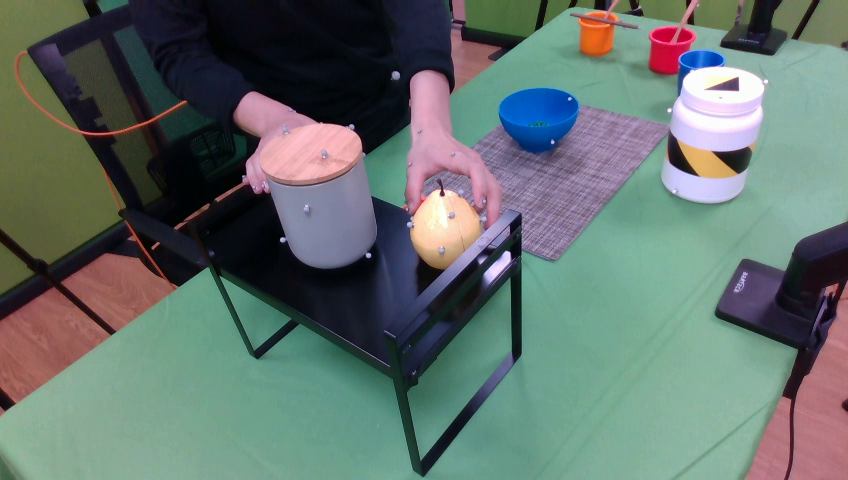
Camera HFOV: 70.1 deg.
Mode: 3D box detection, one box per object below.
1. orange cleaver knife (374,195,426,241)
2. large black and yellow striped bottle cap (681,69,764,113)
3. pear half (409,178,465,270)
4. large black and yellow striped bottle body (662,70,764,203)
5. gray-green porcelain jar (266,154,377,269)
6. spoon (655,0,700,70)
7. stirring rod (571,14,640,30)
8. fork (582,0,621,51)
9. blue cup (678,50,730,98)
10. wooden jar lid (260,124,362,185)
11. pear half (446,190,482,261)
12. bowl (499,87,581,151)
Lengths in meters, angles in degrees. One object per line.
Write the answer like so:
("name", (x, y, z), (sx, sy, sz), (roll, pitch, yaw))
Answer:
("orange cleaver knife", (-0.037, -0.029, 0.973), (0.210, 0.077, 0.012), (-8, 34, 50))
("large black and yellow striped bottle cap", (0.453, -0.229, 0.921), (0.115, 0.019, 0.114), (-4, 39, 4))
("pear half", (0.011, -0.019, 0.655), (0.056, 0.110, 0.076), (-17, 37, -9))
("large black and yellow striped bottle body", (0.464, -0.166, 0.976), (0.131, 0.185, 0.130), (-5, 41, 5))
("gray-green porcelain jar", (-0.112, -0.039, 0.685), (0.106, 0.127, 0.105), (-4, 40, 4))
("spoon", (0.568, -0.463, 1.337), (0.041, 0.022, 0.193), (30, 97, 37))
("stirring rod", (0.418, -0.508, 1.404), (0.174, 0.006, 0.014), (28, 54, 35))
("fork", (0.446, -0.539, 1.438), (0.207, 0.019, 0.028), (-57, 35, 12))
("blue cup", (0.543, -0.310, 1.194), (0.092, 0.101, 0.092), (-6, 41, 6))
("wooden jar lid", (-0.119, -0.088, 0.644), (0.108, 0.021, 0.108), (-3, 40, 3))
("pear half", (0.046, -0.020, 0.664), (0.031, 0.088, 0.070), (-17, 37, -8))
("bowl", (0.221, -0.223, 1.156), (0.151, 0.077, 0.150), (-4, 40, 4))
